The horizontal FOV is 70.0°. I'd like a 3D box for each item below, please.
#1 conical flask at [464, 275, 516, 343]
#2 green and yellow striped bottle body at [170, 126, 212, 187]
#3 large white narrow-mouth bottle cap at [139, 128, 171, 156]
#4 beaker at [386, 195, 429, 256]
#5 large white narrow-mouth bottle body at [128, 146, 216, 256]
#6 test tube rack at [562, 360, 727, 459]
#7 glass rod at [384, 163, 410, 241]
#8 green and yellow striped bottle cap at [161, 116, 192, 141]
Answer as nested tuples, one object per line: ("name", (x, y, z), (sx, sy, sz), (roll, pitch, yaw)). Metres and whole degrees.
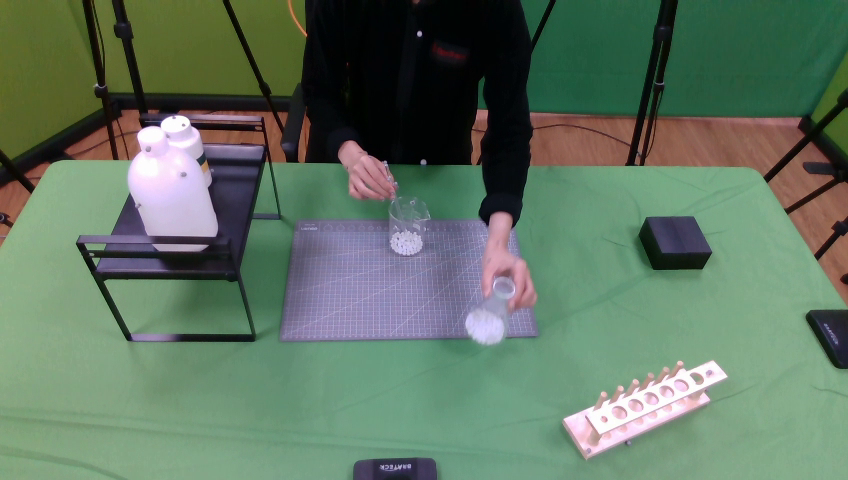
("conical flask", (0.112, 0.105, 0.965), (0.075, 0.122, 0.075), (6, 50, -7))
("green and yellow striped bottle body", (-0.389, -0.139, 0.984), (0.063, 0.120, 0.063), (2, 46, -2))
("large white narrow-mouth bottle cap", (-0.358, -0.131, 0.808), (0.038, 0.024, 0.037), (3, 47, -3))
("beaker", (-0.031, -0.024, 1.161), (0.084, 0.101, 0.073), (18, 48, 12))
("large white narrow-mouth bottle body", (-0.366, -0.073, 0.872), (0.102, 0.195, 0.101), (3, 47, -3))
("test tube rack", (0.341, 0.247, 0.940), (0.243, 0.085, 0.066), (-16, 49, -19))
("glass rod", (-0.049, -0.066, 1.115), (0.008, 0.201, 0.008), (-7, 47, 8))
("green and yellow striped bottle cap", (-0.387, -0.174, 0.946), (0.045, 0.020, 0.045), (3, 44, -3))
